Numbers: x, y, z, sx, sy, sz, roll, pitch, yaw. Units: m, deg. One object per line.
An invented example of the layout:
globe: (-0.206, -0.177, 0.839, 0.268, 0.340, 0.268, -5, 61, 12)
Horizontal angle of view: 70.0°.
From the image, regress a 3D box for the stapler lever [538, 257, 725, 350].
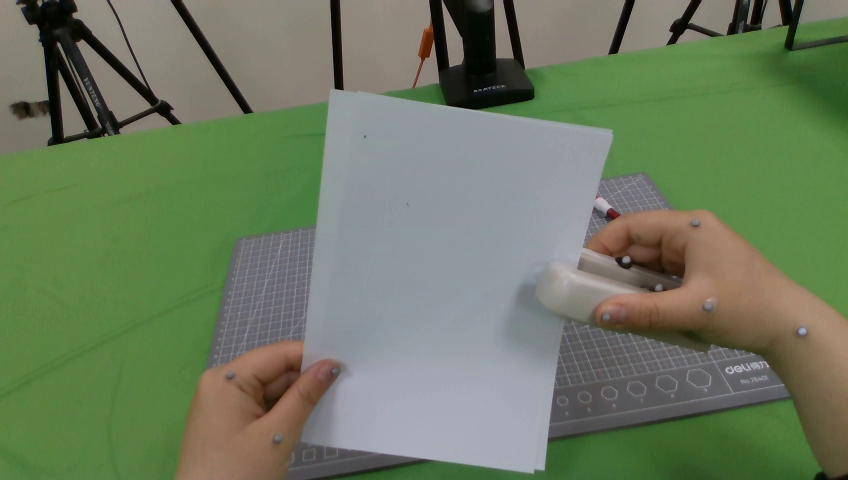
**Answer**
stapler lever: (0.123, 0.039, 0.352, 0.118, 0.027, 0.040, 19, 15, -8)

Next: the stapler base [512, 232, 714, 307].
stapler base: (0.120, 0.033, 0.373, 0.131, 0.041, 0.024, 18, 16, -11)

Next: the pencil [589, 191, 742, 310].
pencil: (0.214, 0.004, 0.555, 0.012, 0.012, 0.192, -22, 42, -15)
